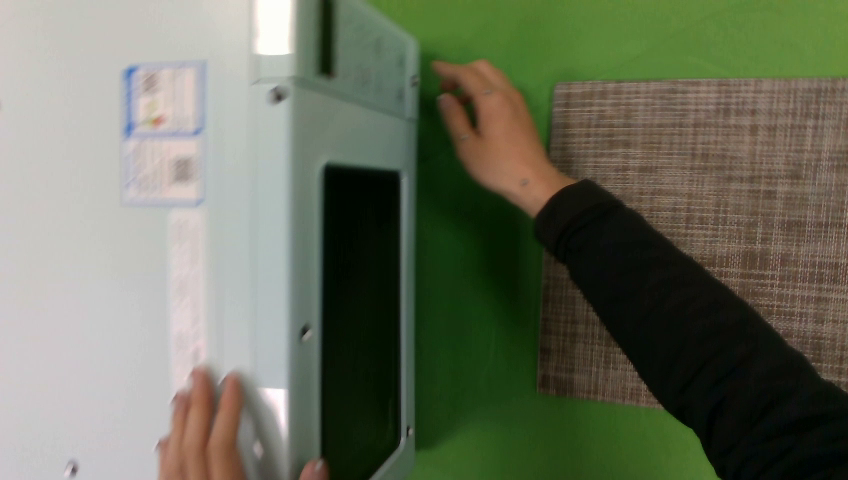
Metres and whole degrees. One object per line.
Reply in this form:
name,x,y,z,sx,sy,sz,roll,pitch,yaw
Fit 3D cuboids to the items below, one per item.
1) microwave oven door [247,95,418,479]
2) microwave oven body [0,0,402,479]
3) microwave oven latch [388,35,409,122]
microwave oven door,-0.063,0.072,0.513,0.039,0.244,0.356,1,96,20
microwave oven body,-0.200,0.026,0.560,0.325,0.260,0.442,2,97,18
microwave oven latch,-0.029,-0.154,0.585,0.030,0.029,0.079,3,97,18
